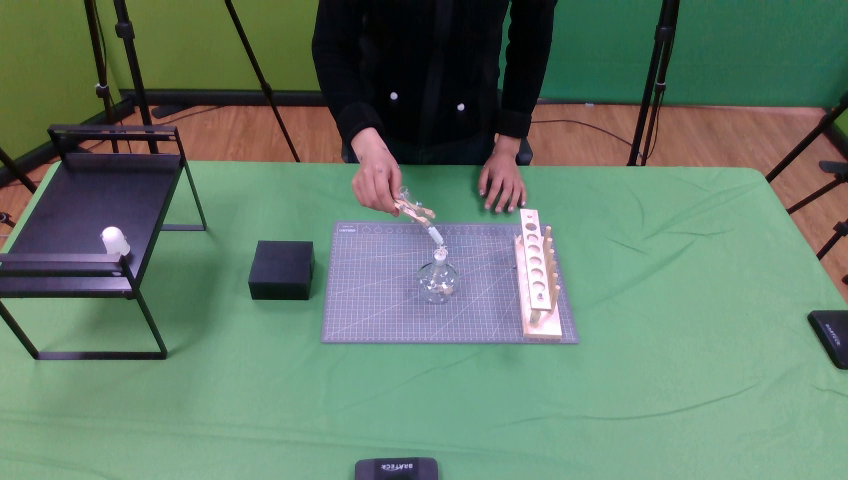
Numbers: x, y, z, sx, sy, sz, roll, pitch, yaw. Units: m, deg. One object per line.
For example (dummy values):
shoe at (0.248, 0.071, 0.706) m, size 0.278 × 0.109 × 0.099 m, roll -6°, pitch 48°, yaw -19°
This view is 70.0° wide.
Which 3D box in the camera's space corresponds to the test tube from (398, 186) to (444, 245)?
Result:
test tube at (-0.002, -0.036, 0.963) m, size 0.017 × 0.151 × 0.017 m, roll -15°, pitch 51°, yaw 19°

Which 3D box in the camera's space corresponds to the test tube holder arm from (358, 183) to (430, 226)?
test tube holder arm at (-0.053, -0.061, 1.000) m, size 0.177 × 0.015 × 0.013 m, roll 28°, pitch 69°, yaw 40°

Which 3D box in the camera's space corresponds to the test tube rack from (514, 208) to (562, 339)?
test tube rack at (0.212, 0.056, 1.113) m, size 0.067 × 0.085 × 0.241 m, roll 3°, pitch 46°, yaw -1°

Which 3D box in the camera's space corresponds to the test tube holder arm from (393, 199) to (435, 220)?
test tube holder arm at (-0.019, -0.050, 0.973) m, size 0.087 × 0.015 × 0.010 m, roll 19°, pitch 64°, yaw 37°

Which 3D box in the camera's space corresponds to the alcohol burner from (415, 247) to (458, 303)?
alcohol burner at (0.024, 0.057, 1.078) m, size 0.078 × 0.119 × 0.077 m, roll 3°, pitch 44°, yaw -2°

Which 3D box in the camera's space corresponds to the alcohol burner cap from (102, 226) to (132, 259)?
alcohol burner cap at (-0.457, 0.001, 0.897) m, size 0.034 × 0.048 × 0.033 m, roll 2°, pitch 46°, yaw -2°
